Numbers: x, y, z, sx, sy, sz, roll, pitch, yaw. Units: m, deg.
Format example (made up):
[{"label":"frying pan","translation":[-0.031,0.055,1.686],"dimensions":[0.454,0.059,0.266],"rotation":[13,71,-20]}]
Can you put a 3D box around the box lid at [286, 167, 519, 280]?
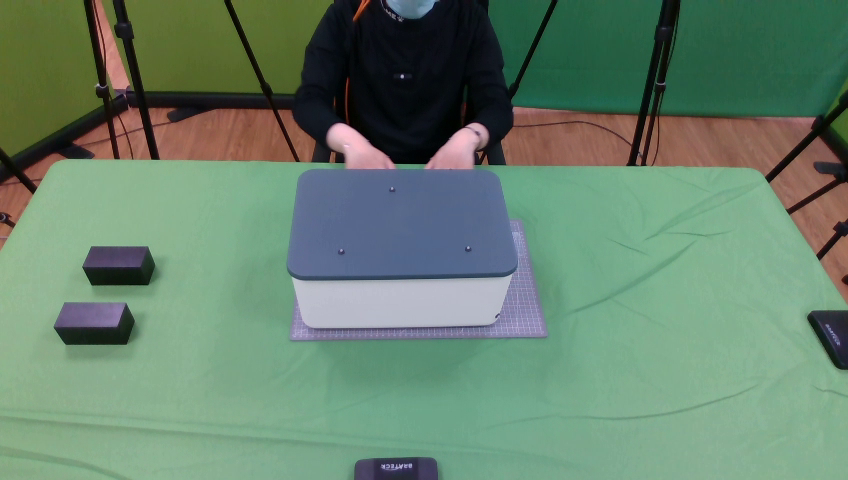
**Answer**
[{"label":"box lid","translation":[-0.035,-0.036,1.021],"dimensions":[0.372,0.015,0.261],"rotation":[-1,46,-4]}]

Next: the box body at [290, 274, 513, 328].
[{"label":"box body","translation":[-0.040,0.015,1.075],"dimensions":[0.364,0.161,0.252],"rotation":[-1,47,-4]}]
